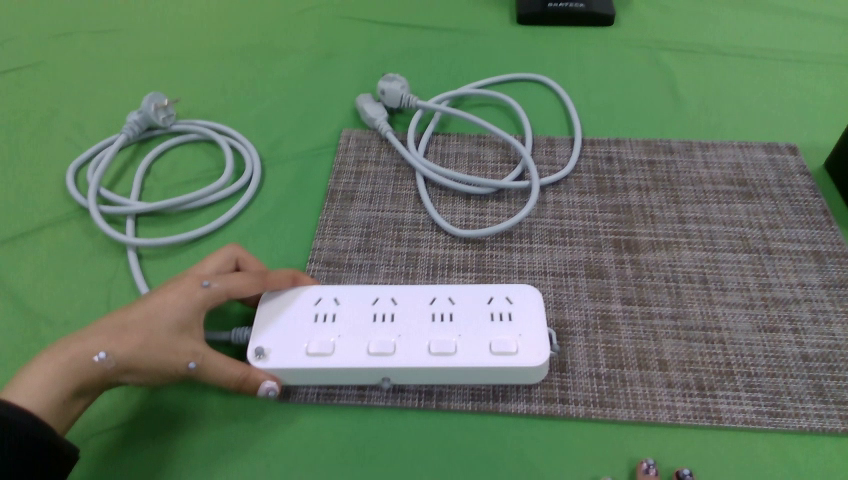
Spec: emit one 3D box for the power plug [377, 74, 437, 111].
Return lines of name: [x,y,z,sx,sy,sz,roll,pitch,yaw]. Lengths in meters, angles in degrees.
power plug: [-0.017,-0.146,0.635,0.072,0.035,0.052,32,31,6]

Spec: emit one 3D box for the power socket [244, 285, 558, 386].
power socket: [-0.016,0.068,0.438,0.227,0.033,0.071,-1,49,1]
